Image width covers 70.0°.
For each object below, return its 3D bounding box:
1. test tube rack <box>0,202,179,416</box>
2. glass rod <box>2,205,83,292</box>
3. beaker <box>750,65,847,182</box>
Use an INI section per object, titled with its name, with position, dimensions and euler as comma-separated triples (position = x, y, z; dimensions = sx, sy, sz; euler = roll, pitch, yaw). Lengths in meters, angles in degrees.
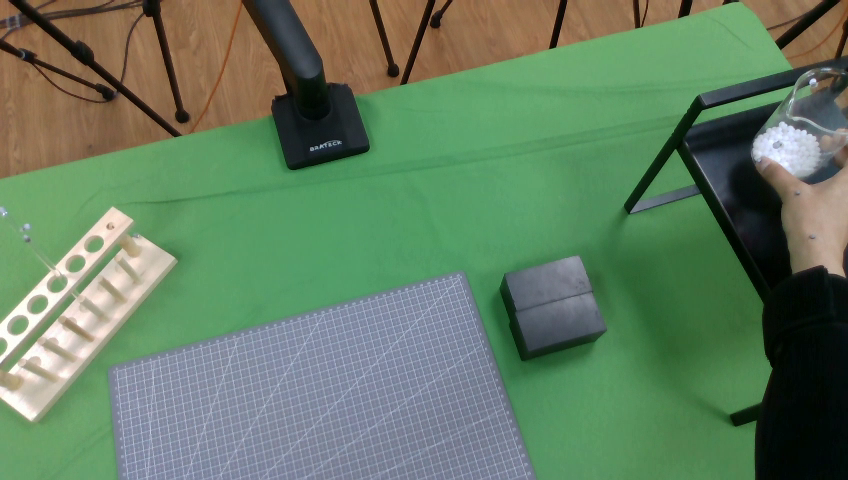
[test tube rack]
position = -0.410, 0.079, 0.713
dimensions = 0.066, 0.086, 0.241
euler = 31, 69, 12
[glass rod]
position = -0.411, 0.021, 0.668
dimensions = 0.008, 0.201, 0.008
euler = 2, 58, -3
[beaker]
position = 0.373, -0.108, 0.595
dimensions = 0.084, 0.101, 0.073
euler = -15, 67, -4
